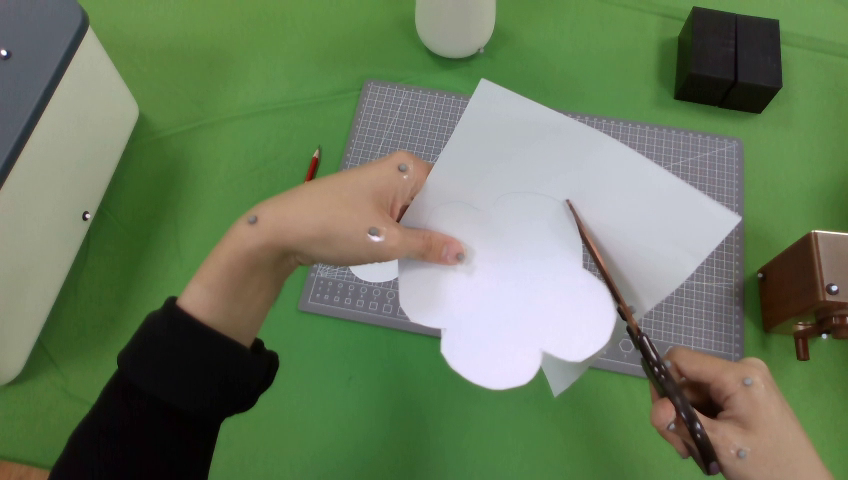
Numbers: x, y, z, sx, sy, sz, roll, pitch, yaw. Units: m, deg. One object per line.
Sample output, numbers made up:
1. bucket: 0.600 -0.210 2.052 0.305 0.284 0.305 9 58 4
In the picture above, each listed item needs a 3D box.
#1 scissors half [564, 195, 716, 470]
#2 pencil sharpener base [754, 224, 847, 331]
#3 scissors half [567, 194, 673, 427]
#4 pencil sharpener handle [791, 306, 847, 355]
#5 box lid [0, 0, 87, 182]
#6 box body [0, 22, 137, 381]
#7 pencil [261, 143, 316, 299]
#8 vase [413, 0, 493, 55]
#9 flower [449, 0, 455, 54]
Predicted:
1. scissors half: 0.121 0.052 0.343 0.013 0.040 0.175 -28 87 7
2. pencil sharpener base: 0.372 0.042 0.579 0.061 0.108 0.076 6 67 3
3. scissors half: 0.123 0.047 0.364 0.013 0.040 0.176 -27 109 12
4. pencil sharpener handle: 0.362 0.083 0.548 0.036 0.068 0.030 11 67 -10
5. box lid: -0.480 -0.092 0.525 0.263 0.015 0.369 10 67 4
6. box body: -0.480 -0.060 0.593 0.254 0.161 0.361 10 67 5
7. pencil: -0.145 -0.027 0.663 0.012 0.012 0.193 11 66 5
8. vase: 0.033 -0.303 0.676 0.098 0.201 0.097 0 66 1
9. flower: 0.028 -0.349 0.605 0.044 0.365 0.038 3 49 6
